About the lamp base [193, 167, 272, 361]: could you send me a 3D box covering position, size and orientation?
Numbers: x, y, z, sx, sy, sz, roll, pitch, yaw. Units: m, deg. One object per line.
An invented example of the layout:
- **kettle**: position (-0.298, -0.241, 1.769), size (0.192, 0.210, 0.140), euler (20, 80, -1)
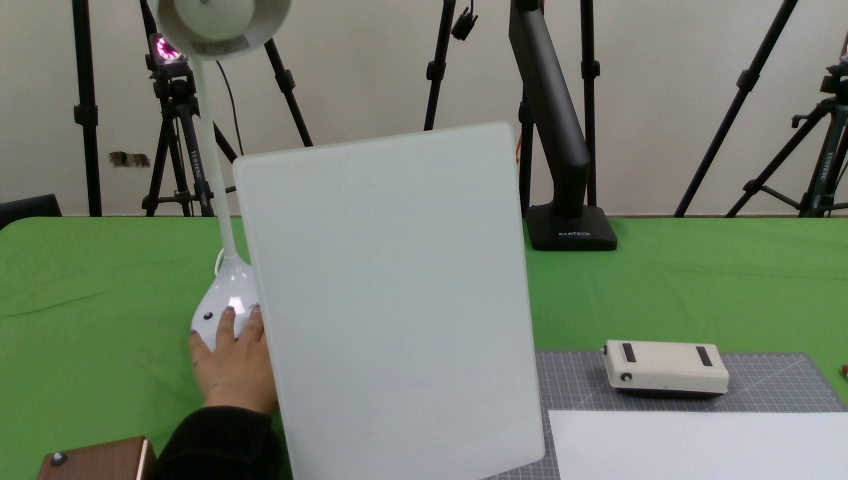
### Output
- **lamp base**: position (-0.197, 0.016, 0.680), size (0.177, 0.181, 0.161), euler (23, 38, 38)

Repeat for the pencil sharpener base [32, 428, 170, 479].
- **pencil sharpener base**: position (-0.230, 0.200, 0.440), size (0.077, 0.108, 0.060), euler (-8, 32, -11)

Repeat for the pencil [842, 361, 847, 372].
- **pencil**: position (0.460, 0.180, 0.560), size (0.012, 0.012, 0.192), euler (-5, 32, -7)

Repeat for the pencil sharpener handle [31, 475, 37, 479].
- **pencil sharpener handle**: position (-0.279, 0.197, 0.420), size (0.031, 0.068, 0.035), euler (-8, 19, -11)

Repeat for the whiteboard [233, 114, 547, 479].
- **whiteboard**: position (-0.031, 0.056, 0.543), size (0.218, 0.306, 0.143), euler (-11, 13, -15)

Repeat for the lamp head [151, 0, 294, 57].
- **lamp head**: position (-0.180, -0.228, 0.495), size (0.112, 0.113, 0.122), euler (-21, 61, -30)

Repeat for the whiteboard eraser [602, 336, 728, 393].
- **whiteboard eraser**: position (0.243, 0.127, 0.616), size (0.112, 0.042, 0.055), euler (2, 32, 5)
